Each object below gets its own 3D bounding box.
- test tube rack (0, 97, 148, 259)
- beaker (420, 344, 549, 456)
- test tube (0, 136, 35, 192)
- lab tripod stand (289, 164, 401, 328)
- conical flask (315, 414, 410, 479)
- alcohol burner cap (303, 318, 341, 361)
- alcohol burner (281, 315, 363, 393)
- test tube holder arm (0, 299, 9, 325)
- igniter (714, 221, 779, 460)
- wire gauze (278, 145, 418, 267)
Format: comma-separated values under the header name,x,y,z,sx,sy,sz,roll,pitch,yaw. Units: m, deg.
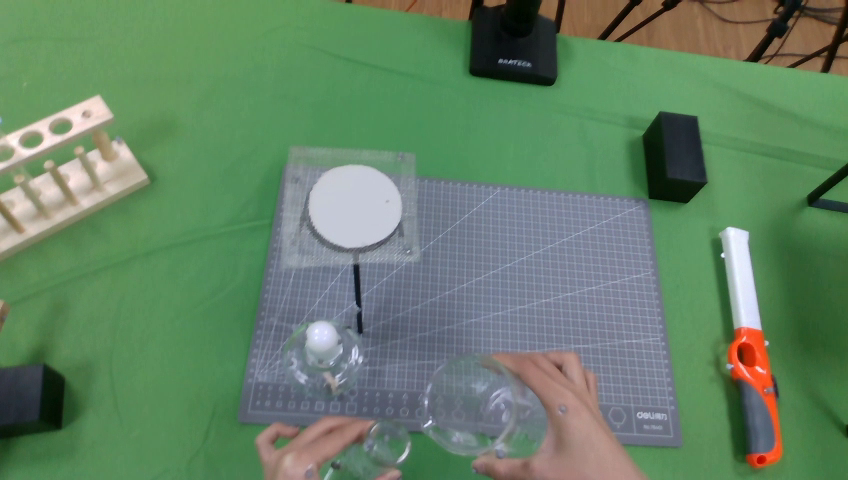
name,x,y,z,sx,sy,sz,roll,pitch,yaw
test tube rack,-0.422,-0.046,0.617,0.242,0.086,0.066,-34,72,-21
beaker,0.052,0.134,0.484,0.084,0.101,0.073,-30,57,14
test tube,-0.413,-0.091,0.585,0.017,0.151,0.017,4,58,-6
lab tripod stand,-0.074,0.000,0.611,0.149,0.132,0.147,4,64,-8
conical flask,-0.047,0.188,0.516,0.075,0.122,0.074,12,50,-14
alcohol burner cap,-0.092,0.086,0.536,0.034,0.048,0.033,1,67,-3
alcohol burner,-0.096,0.102,0.569,0.078,0.120,0.077,4,62,-7
test tube holder arm,-0.391,0.094,0.535,0.010,0.015,0.087,8,62,-3
igniter,0.359,0.104,0.680,0.057,0.025,0.274,12,63,-13
wire gauze,-0.069,-0.034,0.553,0.122,0.011,0.124,0,65,-8
